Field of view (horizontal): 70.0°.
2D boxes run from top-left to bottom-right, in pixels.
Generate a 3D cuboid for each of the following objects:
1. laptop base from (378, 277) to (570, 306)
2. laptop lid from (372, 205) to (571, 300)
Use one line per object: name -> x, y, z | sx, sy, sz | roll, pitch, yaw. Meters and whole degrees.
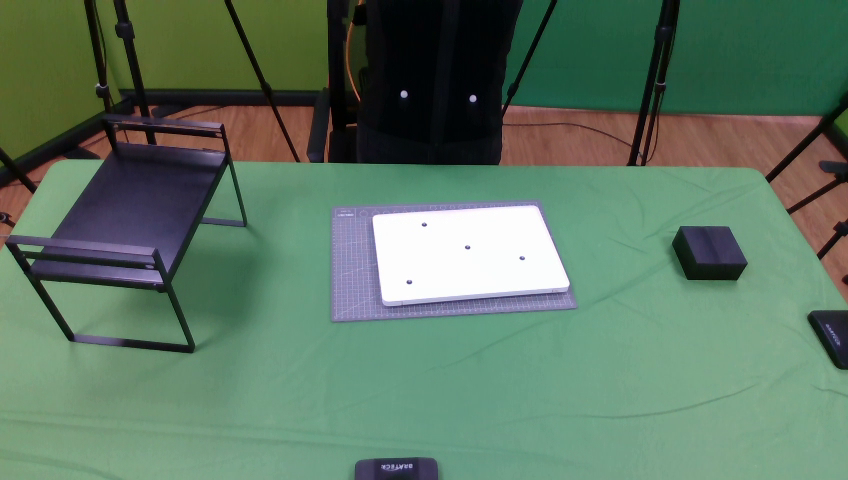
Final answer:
laptop base -> 0.083, 0.027, 1.178 | 0.355, 0.023, 0.234 | -4, 43, -8
laptop lid -> 0.083, 0.017, 1.171 | 0.357, 0.013, 0.240 | -3, 44, -7
